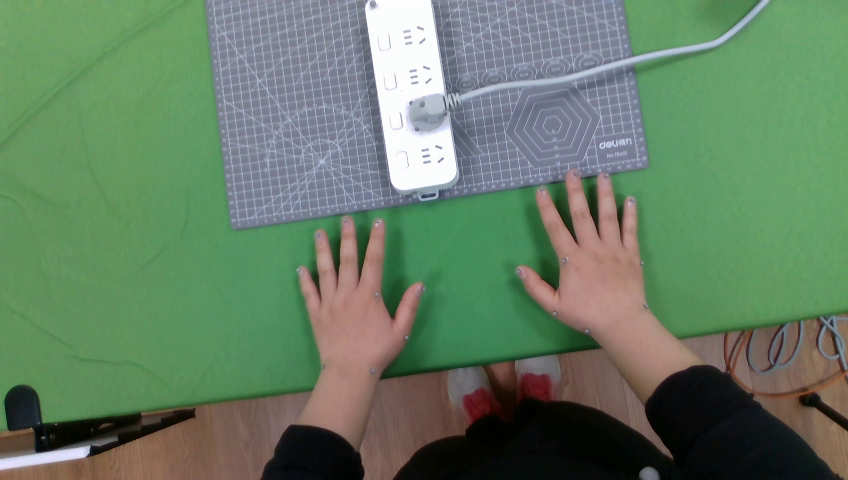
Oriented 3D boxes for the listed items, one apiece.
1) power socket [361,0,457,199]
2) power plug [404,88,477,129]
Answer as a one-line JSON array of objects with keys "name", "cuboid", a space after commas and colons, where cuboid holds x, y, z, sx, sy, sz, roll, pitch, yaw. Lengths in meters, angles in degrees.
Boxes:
[{"name": "power socket", "cuboid": [-0.016, -0.157, 0.635, 0.072, 0.032, 0.226, -9, 86, 4]}, {"name": "power plug", "cuboid": [0.016, -0.130, 0.612, 0.072, 0.053, 0.035, 2, 87, 4]}]
